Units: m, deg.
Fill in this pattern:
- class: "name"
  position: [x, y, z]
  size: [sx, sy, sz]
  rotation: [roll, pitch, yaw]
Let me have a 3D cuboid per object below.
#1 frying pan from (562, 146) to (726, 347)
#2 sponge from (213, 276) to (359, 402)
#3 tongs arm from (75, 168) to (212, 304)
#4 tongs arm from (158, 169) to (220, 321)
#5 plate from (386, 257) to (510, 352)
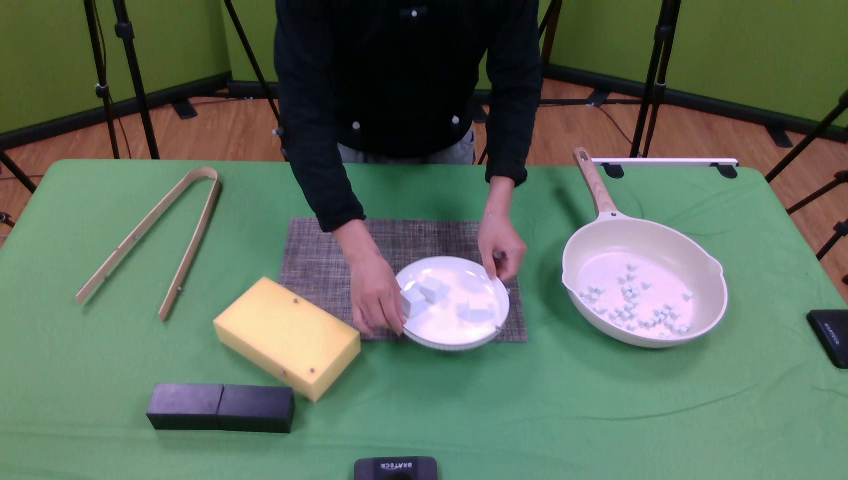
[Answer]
- class: "frying pan"
  position: [0.378, -0.006, 1.175]
  size: [0.307, 0.103, 0.484]
  rotation: [-4, 55, -10]
- class: "sponge"
  position: [-0.225, 0.158, 0.998]
  size: [0.206, 0.061, 0.118]
  rotation: [27, 52, 18]
- class: "tongs arm"
  position: [-0.525, -0.021, 1.167]
  size: [0.051, 0.026, 0.383]
  rotation: [13, 45, 7]
- class: "tongs arm"
  position: [-0.446, -0.005, 1.164]
  size: [0.028, 0.028, 0.385]
  rotation: [1, 46, 0]
- class: "plate"
  position: [0.039, 0.111, 1.022]
  size: [0.208, 0.039, 0.206]
  rotation: [3, 41, -2]
